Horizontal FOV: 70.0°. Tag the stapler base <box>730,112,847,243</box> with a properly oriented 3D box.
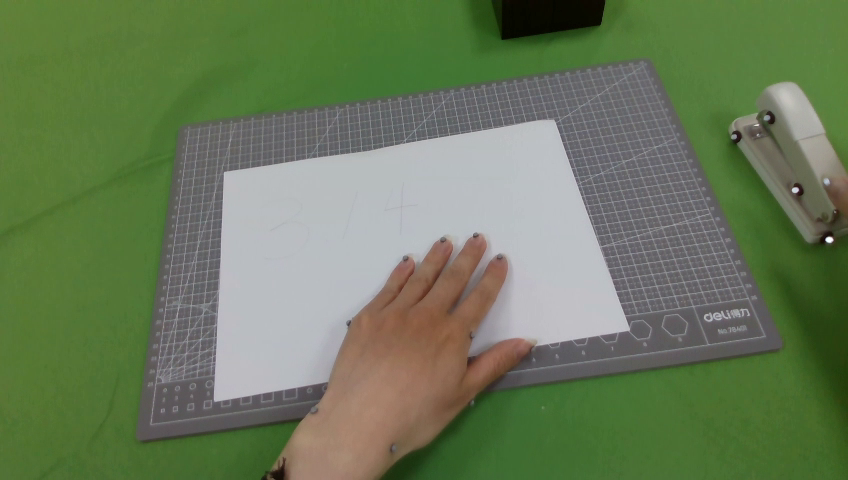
[{"bbox_3d":[0.294,-0.059,0.482,0.041,0.024,0.129,-16,59,-1],"label":"stapler base"}]

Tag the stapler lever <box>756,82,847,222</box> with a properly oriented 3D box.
[{"bbox_3d":[0.293,-0.071,0.460,0.027,0.040,0.117,-16,59,-1],"label":"stapler lever"}]
